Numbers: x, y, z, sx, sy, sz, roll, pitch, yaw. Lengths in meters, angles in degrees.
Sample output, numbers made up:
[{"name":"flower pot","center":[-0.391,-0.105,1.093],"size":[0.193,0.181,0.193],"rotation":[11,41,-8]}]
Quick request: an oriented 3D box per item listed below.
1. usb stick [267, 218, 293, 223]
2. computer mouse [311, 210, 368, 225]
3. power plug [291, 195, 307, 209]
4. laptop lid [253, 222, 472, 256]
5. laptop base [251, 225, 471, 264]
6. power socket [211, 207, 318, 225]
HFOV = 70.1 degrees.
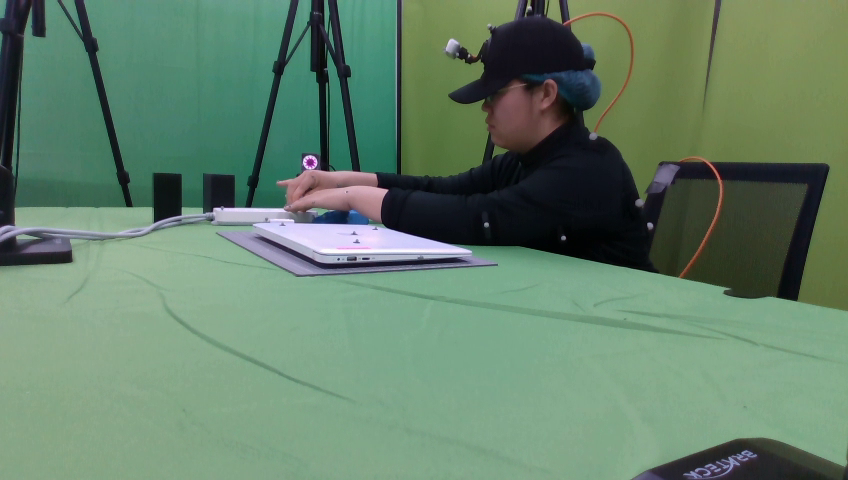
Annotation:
[{"name":"usb stick","center":[-0.272,-0.026,1.107],"size":[0.059,0.027,0.021],"rotation":[-4,11,-27]},{"name":"computer mouse","center":[-0.178,-0.042,1.272],"size":[0.118,0.041,0.062],"rotation":[-3,8,-27]},{"name":"power plug","center":[-0.277,-0.073,1.340],"size":[0.035,0.052,0.072],"rotation":[-1,0,-11]},{"name":"laptop lid","center":[-0.113,-0.005,0.955],"size":[0.243,0.013,0.355],"rotation":[1,7,-29]},{"name":"laptop base","center":[-0.115,0.007,0.955],"size":[0.237,0.023,0.352],"rotation":[2,6,-31]},{"name":"power socket","center":[-0.333,-0.051,1.281],"size":[0.228,0.032,0.072],"rotation":[-2,9,-26]}]
